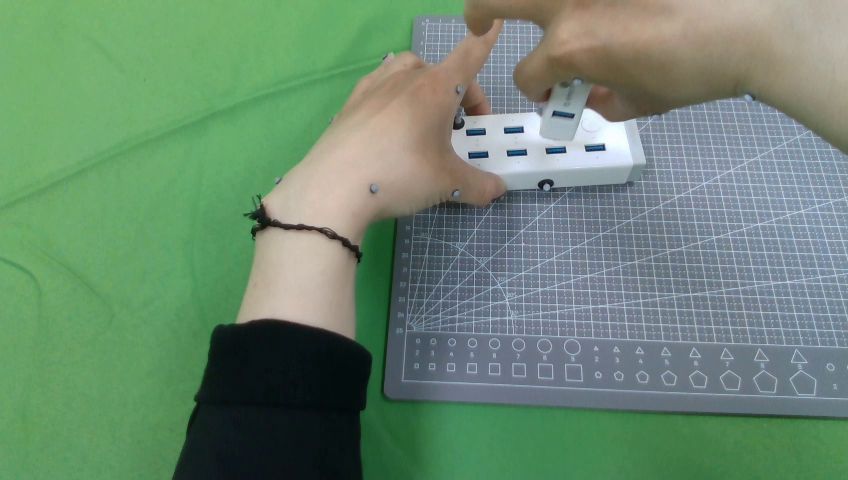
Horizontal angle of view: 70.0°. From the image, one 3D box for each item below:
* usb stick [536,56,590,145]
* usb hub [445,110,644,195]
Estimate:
[{"bbox_3d":[0.080,-0.076,0.359,0.021,0.059,0.027,8,53,1],"label":"usb stick"},{"bbox_3d":[0.077,-0.059,0.402,0.125,0.025,0.049,-3,63,-1],"label":"usb hub"}]
